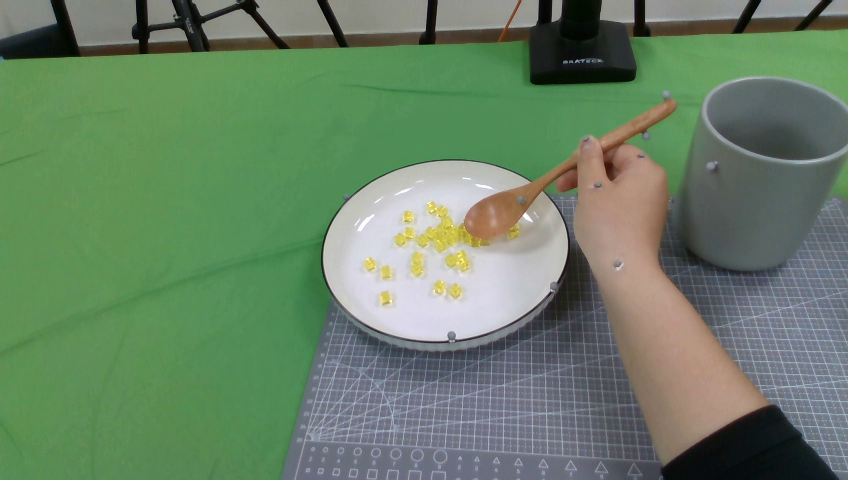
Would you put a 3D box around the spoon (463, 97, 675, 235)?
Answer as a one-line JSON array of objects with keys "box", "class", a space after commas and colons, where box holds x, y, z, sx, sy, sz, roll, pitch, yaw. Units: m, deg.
[{"box": [0.112, -0.058, 0.492, 0.194, 0.022, 0.041, -33, 52, 29], "class": "spoon"}]

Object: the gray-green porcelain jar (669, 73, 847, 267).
[{"box": [0.257, -0.049, 0.480, 0.106, 0.128, 0.105, -3, 48, 4], "class": "gray-green porcelain jar"}]

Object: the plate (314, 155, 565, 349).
[{"box": [0.013, 0.009, 0.517, 0.207, 0.039, 0.205, -3, 48, 4], "class": "plate"}]
